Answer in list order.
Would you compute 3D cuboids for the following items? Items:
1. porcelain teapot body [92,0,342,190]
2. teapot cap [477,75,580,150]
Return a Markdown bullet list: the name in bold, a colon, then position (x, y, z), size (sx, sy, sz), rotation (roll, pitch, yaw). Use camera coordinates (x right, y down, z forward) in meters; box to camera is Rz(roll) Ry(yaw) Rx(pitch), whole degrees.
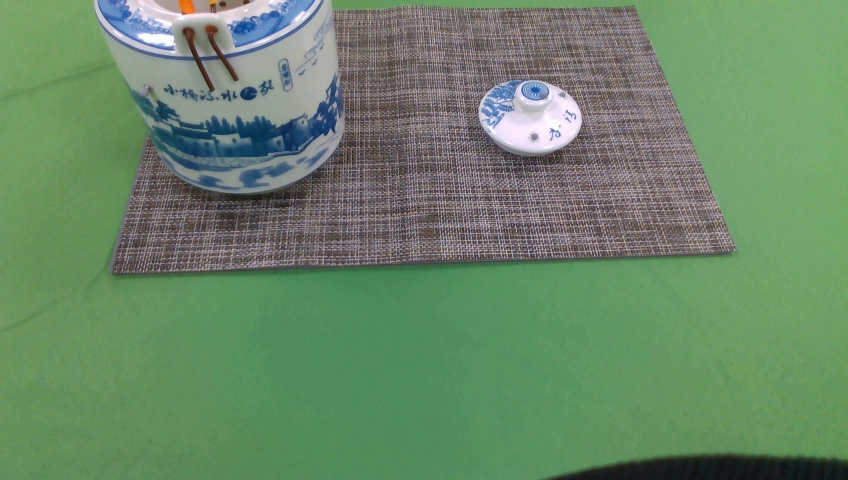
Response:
- **porcelain teapot body**: position (-0.139, -0.171, 0.417), size (0.145, 0.227, 0.203), rotation (-7, 56, -7)
- **teapot cap**: position (0.086, -0.110, 0.496), size (0.085, 0.044, 0.084), rotation (-1, 55, 1)
